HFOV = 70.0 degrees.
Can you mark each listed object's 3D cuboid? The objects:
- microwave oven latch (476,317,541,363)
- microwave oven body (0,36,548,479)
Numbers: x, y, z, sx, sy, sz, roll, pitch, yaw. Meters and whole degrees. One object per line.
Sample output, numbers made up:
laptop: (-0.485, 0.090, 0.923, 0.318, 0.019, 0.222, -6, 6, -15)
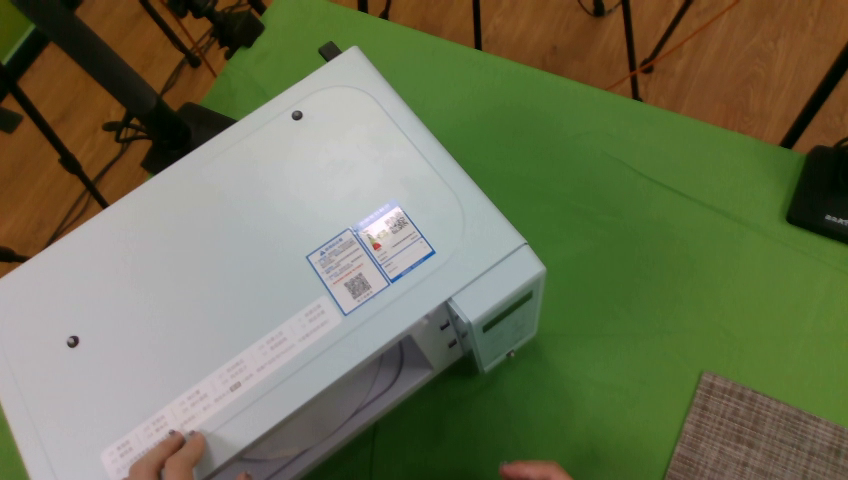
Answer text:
microwave oven latch: (0.096, 0.106, 0.692, 0.079, 0.030, 0.030, -34, 69, -5)
microwave oven body: (-0.146, 0.067, 0.637, 0.441, 0.262, 0.323, -36, 69, -5)
